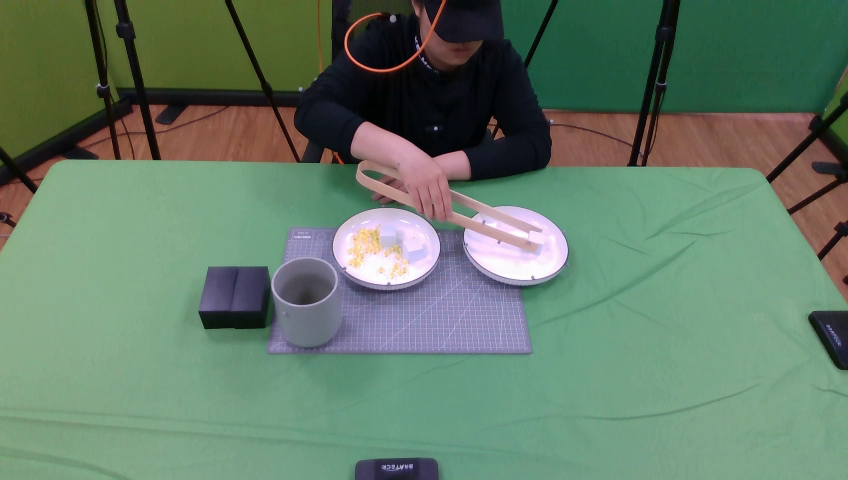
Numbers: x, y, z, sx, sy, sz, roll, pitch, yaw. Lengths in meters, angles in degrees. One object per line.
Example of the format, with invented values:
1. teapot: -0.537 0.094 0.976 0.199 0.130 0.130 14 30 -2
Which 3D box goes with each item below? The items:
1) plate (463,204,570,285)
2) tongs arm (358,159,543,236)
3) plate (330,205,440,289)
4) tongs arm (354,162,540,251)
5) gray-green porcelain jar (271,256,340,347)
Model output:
1. plate: 0.178 0.012 1.184 0.209 0.038 0.208 3 46 -3
2. tongs arm: 0.052 -0.084 1.201 0.388 0.028 0.028 21 48 0
3. plate: -0.074 0.017 1.160 0.208 0.039 0.206 2 46 -2
4. tongs arm: 0.043 -0.064 1.178 0.385 0.026 0.050 19 45 -2
5. gray-green porcelain jar: -0.193 0.107 1.004 0.106 0.127 0.105 2 46 -2
